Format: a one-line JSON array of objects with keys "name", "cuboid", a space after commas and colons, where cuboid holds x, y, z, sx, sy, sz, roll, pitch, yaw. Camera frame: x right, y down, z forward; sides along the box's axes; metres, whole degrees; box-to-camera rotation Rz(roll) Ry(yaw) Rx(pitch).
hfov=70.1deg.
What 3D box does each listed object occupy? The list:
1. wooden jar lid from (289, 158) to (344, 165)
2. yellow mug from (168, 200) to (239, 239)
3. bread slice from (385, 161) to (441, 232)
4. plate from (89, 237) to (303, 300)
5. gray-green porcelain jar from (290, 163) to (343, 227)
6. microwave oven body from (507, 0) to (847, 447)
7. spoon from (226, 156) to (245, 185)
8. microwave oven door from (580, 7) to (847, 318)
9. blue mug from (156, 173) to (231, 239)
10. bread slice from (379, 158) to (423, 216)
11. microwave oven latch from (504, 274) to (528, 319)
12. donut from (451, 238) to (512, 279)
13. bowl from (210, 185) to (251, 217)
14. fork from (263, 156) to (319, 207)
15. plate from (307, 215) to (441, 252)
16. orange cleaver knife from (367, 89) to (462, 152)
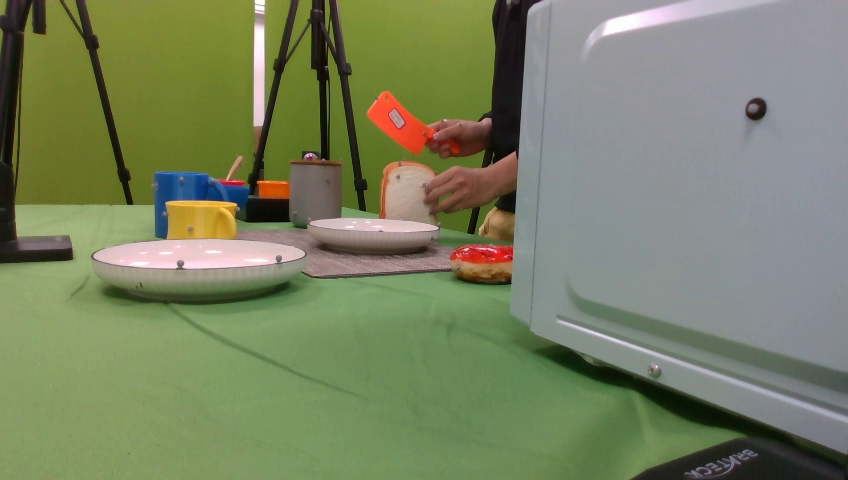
[{"name": "wooden jar lid", "cuboid": [-0.215, -0.153, 1.212, 0.108, 0.020, 0.108, 2, 5, 0]}, {"name": "yellow mug", "cuboid": [-0.319, -0.023, 0.904, 0.130, 0.064, 0.100, 9, 11, 36]}, {"name": "bread slice", "cuboid": [-0.024, -0.077, 1.108, 0.107, 0.134, 0.018, -5, 16, -11]}, {"name": "plate", "cuboid": [-0.233, 0.029, 0.637, 0.208, 0.039, 0.207, 2, 7, 0]}, {"name": "gray-green porcelain jar", "cuboid": [-0.217, -0.091, 1.221, 0.106, 0.126, 0.106, 2, 7, 0]}, {"name": "microwave oven body", "cuboid": [0.331, -0.042, 0.425, 0.444, 0.260, 0.324, -2, 8, -31]}, {"name": "spoon", "cuboid": [-0.477, -0.145, 1.492, 0.041, 0.022, 0.193, 0, 51, 12]}, {"name": "microwave oven door", "cuboid": [0.295, -0.067, 0.570, 0.358, 0.243, 0.039, -3, 8, -31]}, {"name": "blue mug", "cuboid": [-0.381, -0.057, 1.004, 0.117, 0.106, 0.082, 0, 8, -12]}, {"name": "bread slice", "cuboid": [-0.033, -0.090, 1.155, 0.105, 0.131, 0.019, 0, 10, -15]}, {"name": "microwave oven latch", "cuboid": [0.100, 0.041, 0.471, 0.079, 0.029, 0.030, -1, 7, -28]}, {"name": "donut", "cuboid": [0.083, 0.022, 0.745, 0.099, 0.048, 0.099, 1, 5, 0]}, {"name": "bowl", "cuboid": [-0.408, -0.064, 1.154, 0.151, 0.077, 0.151, 2, 8, 0]}, {"name": "fork", "cuboid": [-0.331, -0.144, 1.506, 0.207, 0.018, 0.028, -42, -20, 22]}, {"name": "plate", "cuboid": [-0.078, -0.011, 0.954, 0.209, 0.038, 0.209, 2, 8, 0]}, {"name": "orange cleaver knife", "cuboid": [-0.015, -0.209, 1.147, 0.212, 0.077, 0.012, 28, -19, -30]}]
